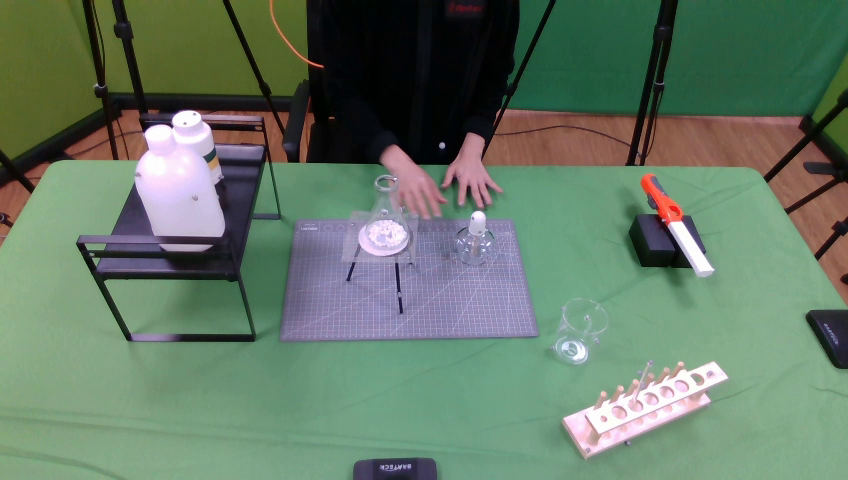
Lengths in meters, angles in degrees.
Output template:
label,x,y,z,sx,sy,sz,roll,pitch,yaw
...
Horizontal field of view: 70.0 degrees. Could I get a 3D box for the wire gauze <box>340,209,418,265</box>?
label,x,y,z,sx,sy,sz,roll,pitch,yaw
wire gauze,-0.074,-0.006,1.024,0.121,0.011,0.124,2,48,1

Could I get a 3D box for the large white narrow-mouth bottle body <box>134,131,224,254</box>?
label,x,y,z,sx,sy,sz,roll,pitch,yaw
large white narrow-mouth bottle body,-0.358,-0.075,0.875,0.102,0.195,0.101,2,48,-1

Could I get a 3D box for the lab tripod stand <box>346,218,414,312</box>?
label,x,y,z,sx,sy,sz,roll,pitch,yaw
lab tripod stand,-0.070,0.037,1.075,0.148,0.132,0.147,1,47,-1

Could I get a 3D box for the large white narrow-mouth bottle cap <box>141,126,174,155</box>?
label,x,y,z,sx,sy,sz,roll,pitch,yaw
large white narrow-mouth bottle cap,-0.356,-0.133,0.811,0.038,0.024,0.037,2,48,-2

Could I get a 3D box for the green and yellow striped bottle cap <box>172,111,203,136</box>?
label,x,y,z,sx,sy,sz,roll,pitch,yaw
green and yellow striped bottle cap,-0.374,-0.185,0.958,0.045,0.020,0.045,4,46,-4

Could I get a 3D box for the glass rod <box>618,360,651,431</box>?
label,x,y,z,sx,sy,sz,roll,pitch,yaw
glass rod,0.298,0.227,0.865,0.008,0.201,0.008,-1,47,2

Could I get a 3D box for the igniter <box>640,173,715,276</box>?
label,x,y,z,sx,sy,sz,roll,pitch,yaw
igniter,0.495,-0.039,1.204,0.057,0.025,0.274,-2,47,-12

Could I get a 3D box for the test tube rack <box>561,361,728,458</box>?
label,x,y,z,sx,sy,sz,roll,pitch,yaw
test tube rack,0.341,0.248,0.940,0.243,0.085,0.066,-15,49,-18

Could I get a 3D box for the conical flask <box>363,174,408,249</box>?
label,x,y,z,sx,sy,sz,roll,pitch,yaw
conical flask,-0.063,-0.049,0.985,0.075,0.122,0.075,2,46,-1

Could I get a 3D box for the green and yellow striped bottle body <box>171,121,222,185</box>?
label,x,y,z,sx,sy,sz,roll,pitch,yaw
green and yellow striped bottle body,-0.375,-0.149,0.995,0.063,0.120,0.063,2,46,-2

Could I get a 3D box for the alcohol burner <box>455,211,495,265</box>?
label,x,y,z,sx,sy,sz,roll,pitch,yaw
alcohol burner,0.097,-0.010,1.147,0.078,0.120,0.077,1,47,0

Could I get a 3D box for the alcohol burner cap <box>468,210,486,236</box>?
label,x,y,z,sx,sy,sz,roll,pitch,yaw
alcohol burner cap,0.099,-0.034,1.119,0.034,0.048,0.033,0,52,0

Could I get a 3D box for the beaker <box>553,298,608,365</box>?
label,x,y,z,sx,sy,sz,roll,pitch,yaw
beaker,0.260,0.154,1.015,0.073,0.101,0.084,37,54,27
